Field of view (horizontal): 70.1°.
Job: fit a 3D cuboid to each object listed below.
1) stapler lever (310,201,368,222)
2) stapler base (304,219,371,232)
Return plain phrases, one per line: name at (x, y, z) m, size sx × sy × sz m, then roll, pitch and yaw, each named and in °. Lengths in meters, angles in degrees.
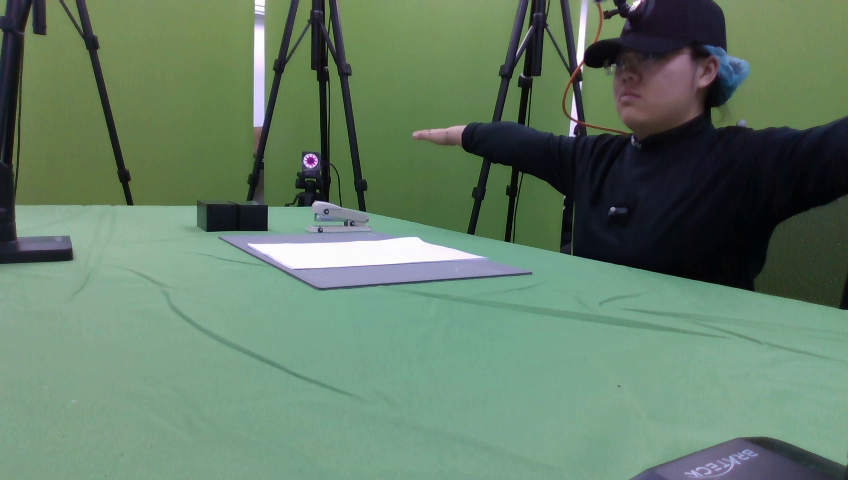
stapler lever at (-0.166, -0.055, 1.184) m, size 0.119 × 0.040 × 0.026 m, roll 0°, pitch 9°, yaw -33°
stapler base at (-0.169, -0.030, 1.186) m, size 0.131 × 0.024 × 0.041 m, roll 0°, pitch 9°, yaw -33°
